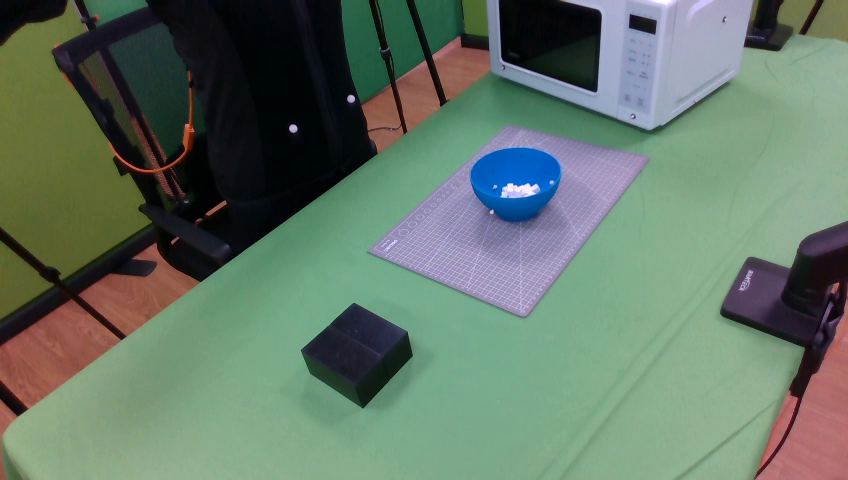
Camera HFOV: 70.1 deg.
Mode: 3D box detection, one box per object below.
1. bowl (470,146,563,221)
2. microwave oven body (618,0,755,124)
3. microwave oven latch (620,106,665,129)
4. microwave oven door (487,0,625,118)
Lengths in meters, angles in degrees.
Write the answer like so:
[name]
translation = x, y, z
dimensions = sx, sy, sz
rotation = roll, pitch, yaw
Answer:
[bowl]
translation = 0.155, -0.084, 1.008
dimensions = 0.151, 0.077, 0.150
rotation = -6, 40, 5
[microwave oven body]
translation = 0.402, -0.458, 1.259
dimensions = 0.327, 0.261, 0.437
rotation = -33, 45, -24
[microwave oven latch]
translation = 0.412, -0.237, 1.146
dimensions = 0.030, 0.029, 0.078
rotation = -32, 44, -24
[microwave oven door]
translation = 0.262, -0.409, 1.221
dimensions = 0.039, 0.245, 0.352
rotation = -33, 45, -25
